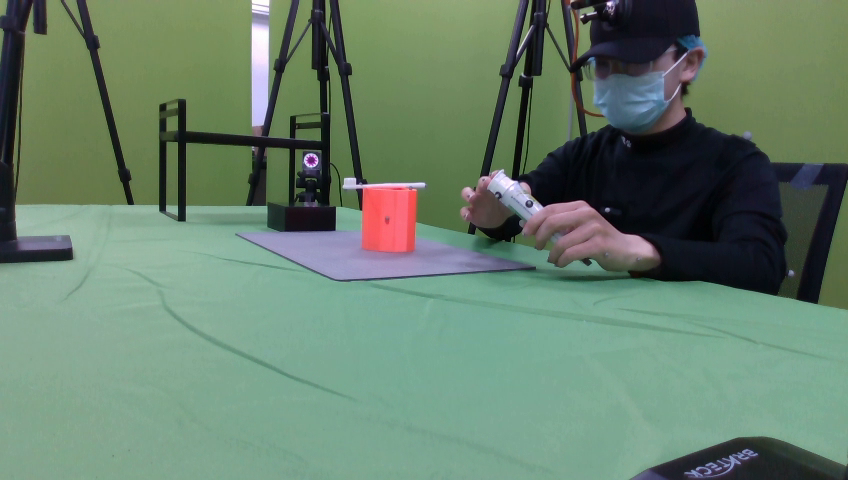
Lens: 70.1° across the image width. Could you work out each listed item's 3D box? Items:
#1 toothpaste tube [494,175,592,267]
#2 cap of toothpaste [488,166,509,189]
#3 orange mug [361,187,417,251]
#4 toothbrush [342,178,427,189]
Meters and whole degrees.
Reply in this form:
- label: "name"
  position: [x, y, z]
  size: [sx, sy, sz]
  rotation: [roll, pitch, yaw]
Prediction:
- label: "toothpaste tube"
  position: [0.155, -0.026, 0.786]
  size: [0.165, 0.034, 0.055]
  rotation: [44, 25, 11]
- label: "cap of toothpaste"
  position: [0.100, -0.082, 0.804]
  size: [0.011, 0.037, 0.037]
  rotation: [40, 15, 8]
- label: "orange mug"
  position: [-0.054, -0.039, 0.962]
  size: [0.083, 0.101, 0.126]
  rotation: [2, 12, 0]
- label: "toothbrush"
  position: [-0.058, -0.089, 0.948]
  size: [0.014, 0.016, 0.183]
  rotation: [5, 7, 41]
